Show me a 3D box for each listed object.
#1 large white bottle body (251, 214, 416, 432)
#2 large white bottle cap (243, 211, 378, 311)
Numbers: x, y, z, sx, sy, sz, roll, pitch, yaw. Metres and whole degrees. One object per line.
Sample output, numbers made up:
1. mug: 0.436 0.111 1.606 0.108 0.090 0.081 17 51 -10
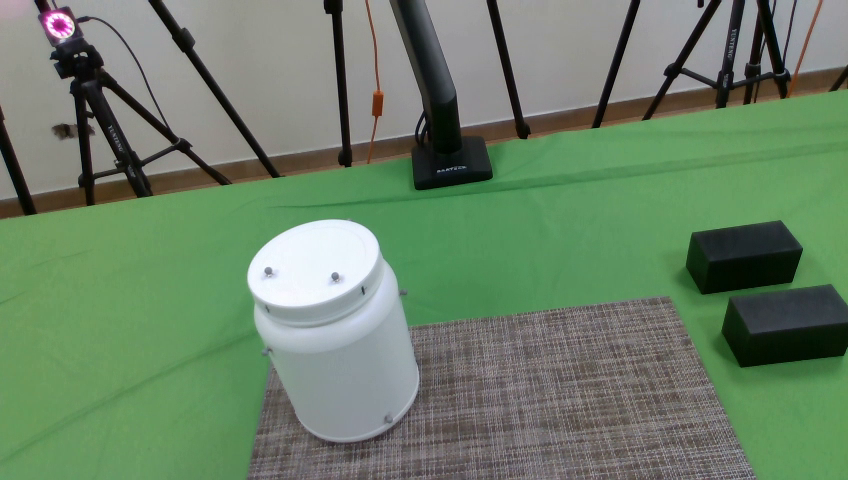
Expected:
1. large white bottle body: -0.084 0.079 0.575 0.130 0.186 0.129 -6 40 6
2. large white bottle cap: -0.097 0.015 0.522 0.115 0.018 0.113 -6 39 5
